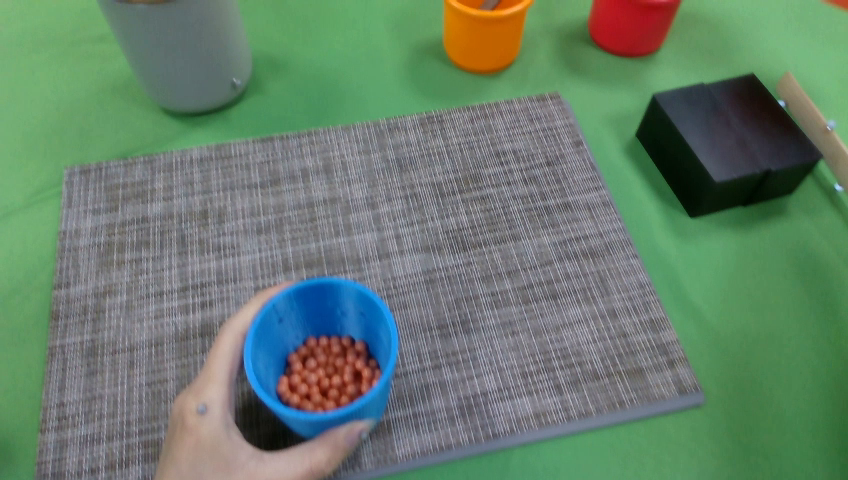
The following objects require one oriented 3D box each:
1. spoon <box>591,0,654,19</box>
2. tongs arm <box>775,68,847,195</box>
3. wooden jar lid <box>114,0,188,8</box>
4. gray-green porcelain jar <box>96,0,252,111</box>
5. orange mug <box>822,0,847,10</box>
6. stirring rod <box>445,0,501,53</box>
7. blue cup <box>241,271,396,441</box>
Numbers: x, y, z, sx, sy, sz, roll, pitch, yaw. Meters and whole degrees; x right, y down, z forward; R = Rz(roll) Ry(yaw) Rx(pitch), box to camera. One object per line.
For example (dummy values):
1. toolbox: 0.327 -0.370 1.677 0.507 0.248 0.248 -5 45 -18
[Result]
1. spoon: 0.234 -0.232 0.559 0.041 0.022 0.192 -46 26 -18
2. tongs arm: 0.396 0.004 0.482 0.051 0.027 0.381 -7 60 -10
3. wooden jar lid: -0.212 -0.219 0.476 0.108 0.021 0.107 2 57 -3
4. gray-green porcelain jar: -0.213 -0.186 0.528 0.106 0.127 0.105 1 58 -1
5. orange mug: 0.369 -0.233 0.466 0.083 0.101 0.125 -31 68 -15
6. stirring rod: 0.082 -0.244 0.566 0.176 0.006 0.014 -43 62 22
7. blue cup: -0.060 0.081 0.377 0.093 0.101 0.092 2 56 -2
